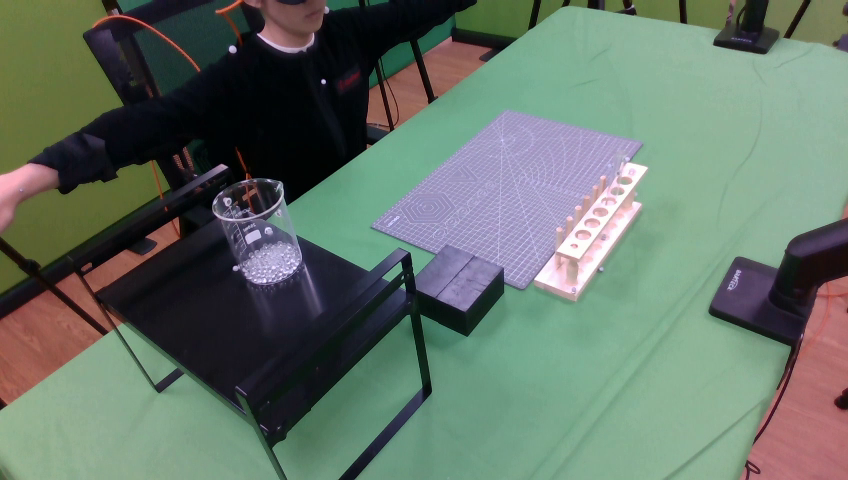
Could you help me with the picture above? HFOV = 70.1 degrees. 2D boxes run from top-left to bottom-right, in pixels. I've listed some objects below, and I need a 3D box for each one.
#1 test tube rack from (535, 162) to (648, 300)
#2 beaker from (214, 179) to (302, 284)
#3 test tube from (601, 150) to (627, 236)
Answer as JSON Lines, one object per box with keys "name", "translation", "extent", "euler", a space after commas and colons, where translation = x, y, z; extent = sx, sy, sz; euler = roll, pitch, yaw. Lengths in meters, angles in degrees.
{"name": "test tube rack", "translation": [0.257, -0.024, 0.916], "extent": [0.066, 0.085, 0.243], "euler": [22, 49, 30]}
{"name": "beaker", "translation": [-0.178, -0.008, 0.675], "extent": [0.073, 0.101, 0.084], "euler": [22, 48, 30]}
{"name": "test tube", "translation": [0.276, -0.065, 0.884], "extent": [0.017, 0.151, 0.017], "euler": [-2, 41, 2]}
